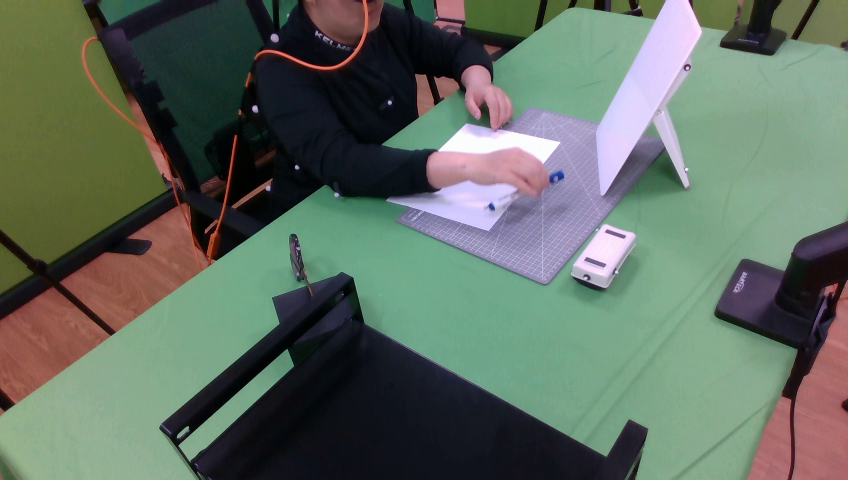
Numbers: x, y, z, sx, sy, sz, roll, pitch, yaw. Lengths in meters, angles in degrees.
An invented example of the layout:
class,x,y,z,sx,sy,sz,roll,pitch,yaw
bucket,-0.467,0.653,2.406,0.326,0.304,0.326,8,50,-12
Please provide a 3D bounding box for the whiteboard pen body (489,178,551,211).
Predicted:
class,x,y,z,sx,sy,sz,roll,pitch,yaw
whiteboard pen body,0.168,-0.080,0.998,0.141,0.017,0.017,-25,43,-18

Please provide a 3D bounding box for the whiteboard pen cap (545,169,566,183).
class,x,y,z,sx,sy,sz,roll,pitch,yaw
whiteboard pen cap,0.220,-0.106,1.013,0.033,0.018,0.018,-24,43,-13

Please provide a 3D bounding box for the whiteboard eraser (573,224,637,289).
class,x,y,z,sx,sy,sz,roll,pitch,yaw
whiteboard eraser,0.267,0.025,0.890,0.055,0.042,0.113,19,47,31

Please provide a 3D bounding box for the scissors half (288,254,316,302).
class,x,y,z,sx,sy,sz,roll,pitch,yaw
scissors half,-0.178,0.058,0.894,0.013,0.040,0.174,-15,20,-18

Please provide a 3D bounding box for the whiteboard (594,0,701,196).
class,x,y,z,sx,sy,sz,roll,pitch,yaw
whiteboard,0.420,-0.227,1.010,0.144,0.305,0.216,18,42,-2

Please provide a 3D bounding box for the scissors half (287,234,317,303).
class,x,y,z,sx,sy,sz,roll,pitch,yaw
scissors half,-0.178,0.040,0.884,0.013,0.040,0.173,-10,36,-21
